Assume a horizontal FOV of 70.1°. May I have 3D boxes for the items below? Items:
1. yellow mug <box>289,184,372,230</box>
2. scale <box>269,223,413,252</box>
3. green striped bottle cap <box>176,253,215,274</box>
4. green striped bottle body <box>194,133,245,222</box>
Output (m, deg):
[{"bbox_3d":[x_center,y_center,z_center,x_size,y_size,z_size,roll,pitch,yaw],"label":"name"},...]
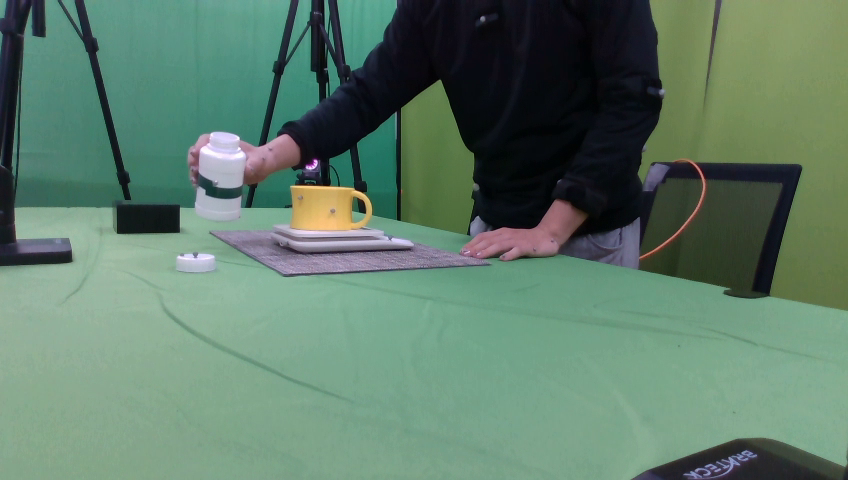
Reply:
[{"bbox_3d":[-0.145,-0.052,0.944,0.131,0.064,0.100,4,7,9],"label":"yellow mug"},{"bbox_3d":[-0.132,-0.007,0.965,0.202,0.031,0.148,-1,8,-31],"label":"scale"},{"bbox_3d":[-0.279,0.029,0.741,0.044,0.020,0.044,6,5,0],"label":"green striped bottle cap"},{"bbox_3d":[-0.294,-0.092,0.872,0.063,0.119,0.063,12,21,-4],"label":"green striped bottle body"}]
